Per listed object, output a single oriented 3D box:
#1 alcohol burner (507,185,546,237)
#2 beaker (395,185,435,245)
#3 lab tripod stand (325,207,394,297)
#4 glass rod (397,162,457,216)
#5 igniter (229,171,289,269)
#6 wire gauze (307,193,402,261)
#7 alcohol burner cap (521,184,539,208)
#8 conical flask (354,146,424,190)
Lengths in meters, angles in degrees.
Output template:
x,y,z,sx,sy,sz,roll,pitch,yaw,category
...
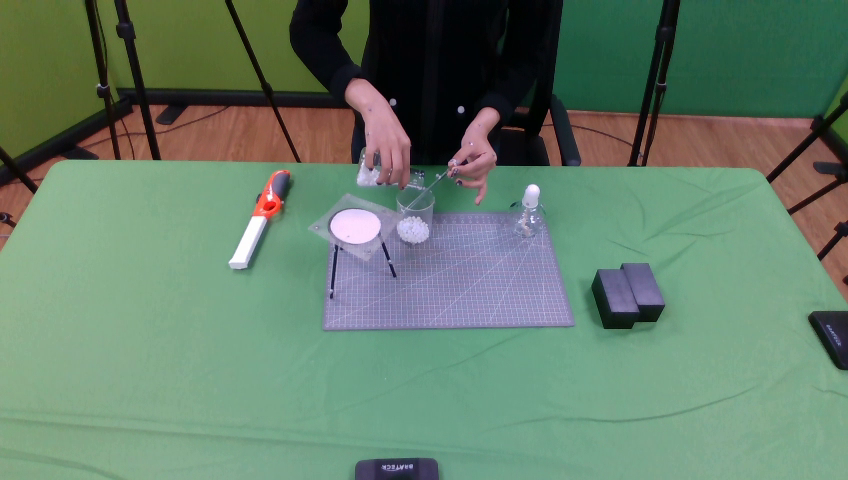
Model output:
x,y,z,sx,sy,sz,roll,pitch,yaw,category
0.208,-0.063,1.210,0.078,0.119,0.077,3,44,-3,alcohol burner
-0.022,-0.048,1.187,0.074,0.101,0.083,-28,53,-28,beaker
-0.124,0.017,1.092,0.148,0.132,0.147,3,44,-3,lab tripod stand
0.002,-0.092,1.124,0.008,0.200,0.008,18,55,-28,glass rod
-0.328,-0.049,1.218,0.057,0.025,0.275,0,45,10,igniter
-0.118,-0.028,1.043,0.125,0.011,0.121,24,47,17,wire gauze
0.210,-0.087,1.183,0.034,0.048,0.033,1,52,-1,alcohol burner cap
-0.062,-0.123,1.105,0.122,0.075,0.075,12,46,-7,conical flask
